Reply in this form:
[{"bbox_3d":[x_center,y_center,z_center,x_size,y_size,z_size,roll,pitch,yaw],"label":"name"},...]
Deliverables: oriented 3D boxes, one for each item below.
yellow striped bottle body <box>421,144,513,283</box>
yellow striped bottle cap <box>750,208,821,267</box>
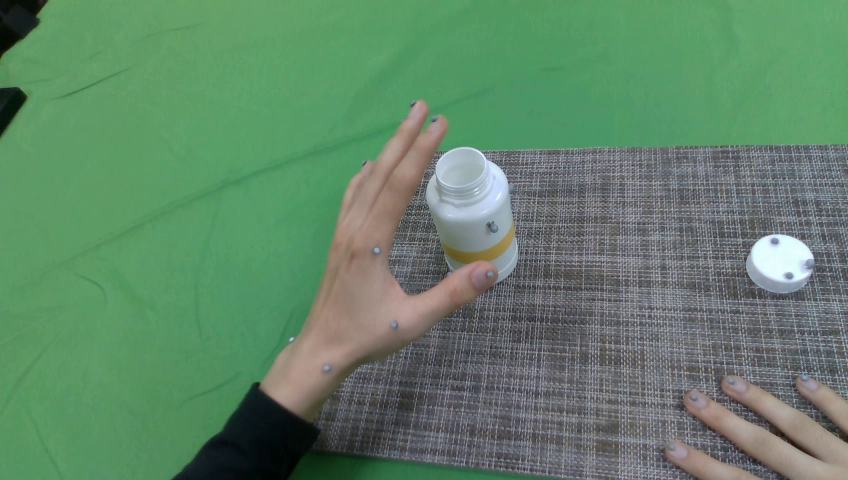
[{"bbox_3d":[0.034,-0.021,0.478,0.063,0.121,0.062,-6,55,10],"label":"yellow striped bottle body"},{"bbox_3d":[0.265,-0.002,0.446,0.044,0.019,0.044,-8,46,9],"label":"yellow striped bottle cap"}]
